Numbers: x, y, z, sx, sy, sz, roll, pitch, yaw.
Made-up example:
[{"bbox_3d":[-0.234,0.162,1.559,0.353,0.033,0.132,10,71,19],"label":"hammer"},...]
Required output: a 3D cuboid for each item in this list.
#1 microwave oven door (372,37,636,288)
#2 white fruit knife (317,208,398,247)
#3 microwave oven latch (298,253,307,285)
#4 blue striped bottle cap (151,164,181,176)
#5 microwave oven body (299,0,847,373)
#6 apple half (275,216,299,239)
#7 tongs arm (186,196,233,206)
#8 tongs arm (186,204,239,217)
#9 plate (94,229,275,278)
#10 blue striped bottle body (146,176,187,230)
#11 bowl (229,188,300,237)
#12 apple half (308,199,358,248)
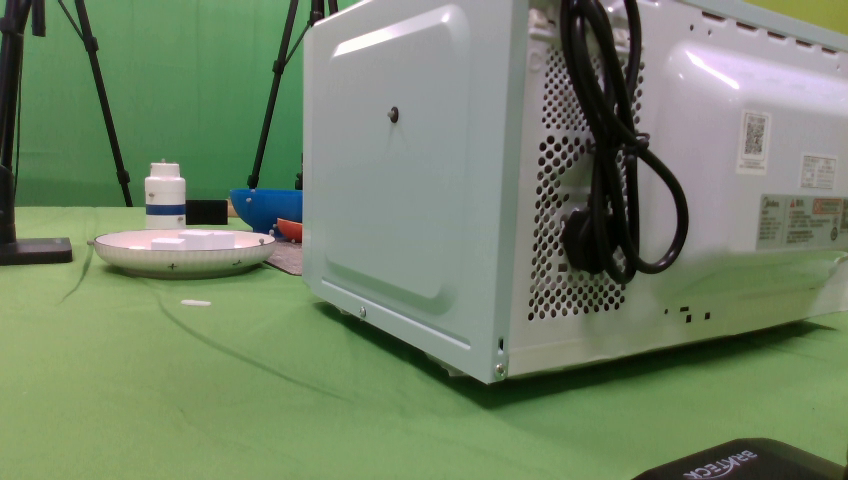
[{"bbox_3d":[0.110,-0.080,0.686,0.358,0.243,0.039,-2,9,-33],"label":"microwave oven door"},{"bbox_3d":[-0.109,-0.023,1.035,0.016,0.027,0.208,7,20,33],"label":"white fruit knife"},{"bbox_3d":[-0.081,0.027,0.582,0.079,0.029,0.030,-2,7,-32],"label":"microwave oven latch"},{"bbox_3d":[-0.428,-0.116,1.002,0.044,0.020,0.044,1,6,0],"label":"blue striped bottle cap"},{"bbox_3d":[0.152,-0.055,0.542,0.444,0.260,0.324,-2,7,-33],"label":"microwave oven body"},{"bbox_3d":[-0.201,-0.018,0.982,0.081,0.033,0.081,10,6,-1],"label":"apple half"},{"bbox_3d":[-0.404,-0.081,1.479,0.385,0.026,0.050,3,8,-2],"label":"tongs arm"},{"bbox_3d":[-0.396,-0.066,1.399,0.389,0.028,0.028,1,5,-15],"label":"tongs arm"},{"bbox_3d":[-0.291,0.016,0.750,0.208,0.039,0.207,2,7,0],"label":"plate"},{"bbox_3d":[-0.430,-0.065,1.010,0.063,0.120,0.063,2,7,0],"label":"blue striped bottle body"},{"bbox_3d":[-0.265,-0.048,1.066,0.151,0.077,0.151,3,8,0],"label":"bowl"},{"bbox_3d":[-0.134,-0.024,0.939,0.053,0.074,0.081,18,14,36],"label":"apple half"}]
